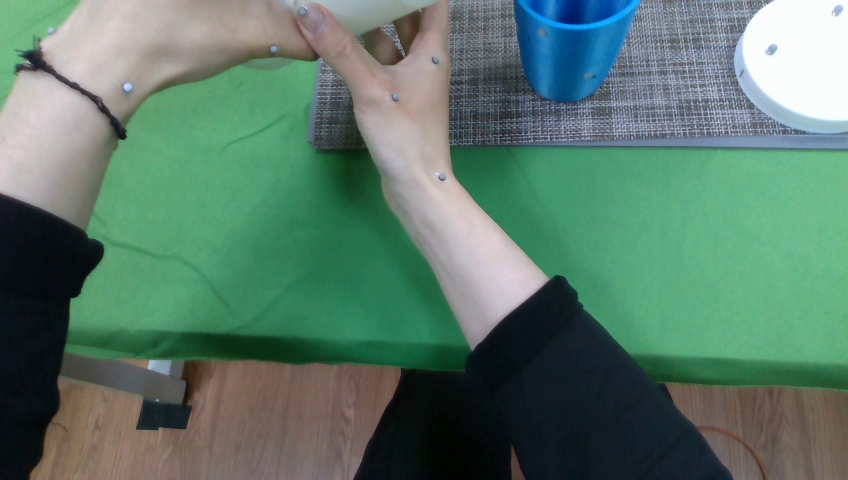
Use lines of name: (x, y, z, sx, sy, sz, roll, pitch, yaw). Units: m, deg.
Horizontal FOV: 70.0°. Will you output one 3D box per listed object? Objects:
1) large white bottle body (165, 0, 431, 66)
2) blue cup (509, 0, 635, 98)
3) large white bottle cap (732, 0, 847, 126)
large white bottle body: (-0.059, -0.190, 0.356, 0.184, 0.132, 0.130, -7, 66, 35)
blue cup: (0.101, -0.152, 0.424, 0.092, 0.101, 0.092, -3, 69, 8)
large white bottle cap: (0.288, -0.137, 0.442, 0.115, 0.018, 0.114, -2, 70, 6)
